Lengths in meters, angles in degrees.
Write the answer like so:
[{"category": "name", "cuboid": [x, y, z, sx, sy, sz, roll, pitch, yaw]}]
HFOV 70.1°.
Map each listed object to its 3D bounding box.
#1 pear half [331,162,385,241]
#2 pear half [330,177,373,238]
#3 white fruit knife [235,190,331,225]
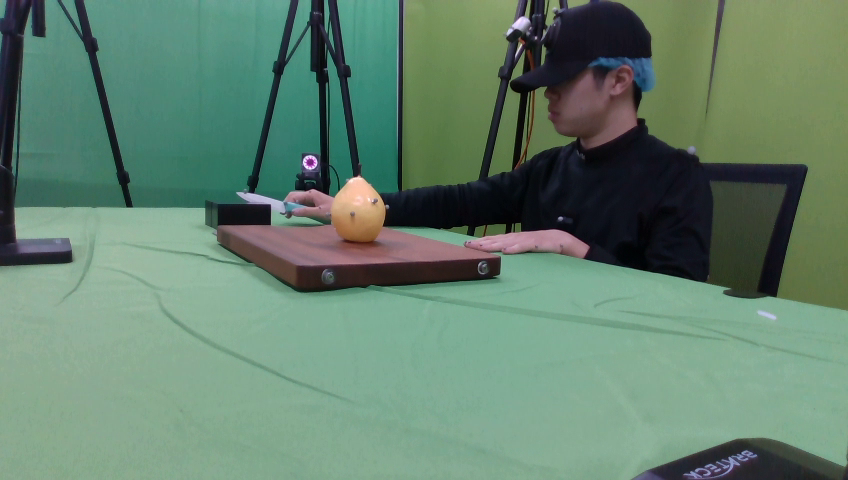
[{"category": "pear half", "cuboid": [-0.085, -0.052, 0.839, 0.055, 0.110, 0.077, 9, 14, 42]}, {"category": "pear half", "cuboid": [-0.109, -0.047, 0.866, 0.031, 0.088, 0.071, 8, 12, 43]}, {"category": "white fruit knife", "cuboid": [-0.286, -0.070, 1.245, 0.208, 0.027, 0.016, 16, -4, -30]}]
